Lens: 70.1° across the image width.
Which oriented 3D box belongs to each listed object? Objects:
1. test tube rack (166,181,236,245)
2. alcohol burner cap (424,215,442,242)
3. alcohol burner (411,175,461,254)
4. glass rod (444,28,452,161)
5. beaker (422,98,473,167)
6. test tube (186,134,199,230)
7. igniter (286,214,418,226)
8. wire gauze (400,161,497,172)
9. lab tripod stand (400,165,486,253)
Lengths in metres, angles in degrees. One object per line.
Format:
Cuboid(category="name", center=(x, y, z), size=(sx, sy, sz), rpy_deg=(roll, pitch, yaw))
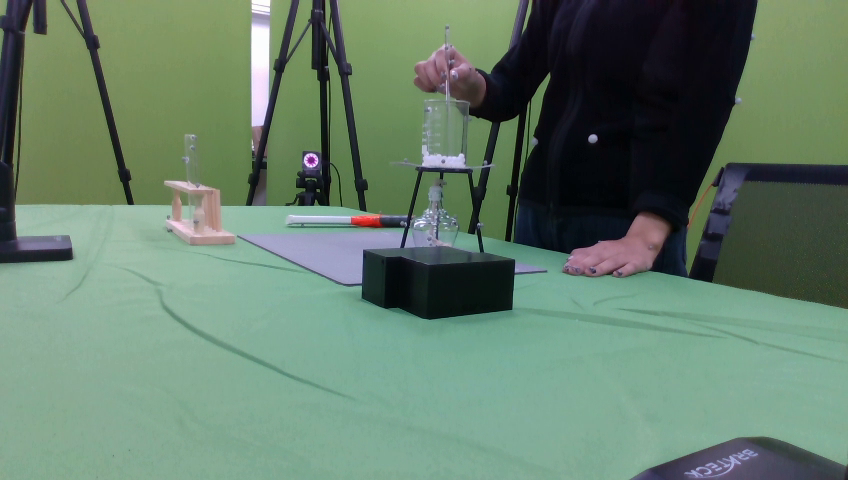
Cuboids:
Cuboid(category="test tube rack", center=(-0.383, -0.051, 1.024), size=(0.067, 0.085, 0.241), rpy_deg=(-2, 9, -31))
Cuboid(category="alcohol burner cap", center=(0.017, -0.022, 1.098), size=(0.034, 0.048, 0.034), rpy_deg=(2, 9, 0))
Cuboid(category="alcohol burner", center=(0.018, -0.040, 0.931), size=(0.078, 0.119, 0.078), rpy_deg=(0, 7, 0))
Cuboid(category="glass rod", center=(0.036, -0.218, 0.903), size=(0.008, 0.199, 0.008), rpy_deg=(-1, -2, 0))
Cuboid(category="beaker", center=(0.031, -0.162, 0.919), size=(0.074, 0.100, 0.083), rpy_deg=(-4, 9, -36))
Cuboid(category="test tube", center=(-0.360, -0.089, 0.946), size=(0.017, 0.150, 0.017), rpy_deg=(0, 10, 0))
Cuboid(category="igniter", center=(-0.145, -0.043, 1.263), size=(0.278, 0.025, 0.057), rpy_deg=(-1, -2, -25))
Cuboid(category="wire gauze", center=(0.028, -0.114, 0.920), size=(0.122, 0.011, 0.124), rpy_deg=(-5, 13, -34))
Cuboid(category="lab tripod stand", center=(0.028, -0.049, 0.930), size=(0.148, 0.131, 0.148), rpy_deg=(2, 9, 0))
